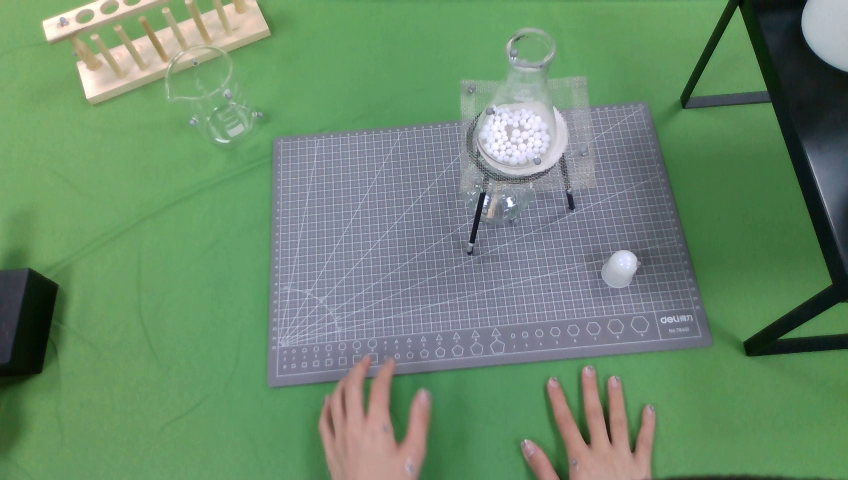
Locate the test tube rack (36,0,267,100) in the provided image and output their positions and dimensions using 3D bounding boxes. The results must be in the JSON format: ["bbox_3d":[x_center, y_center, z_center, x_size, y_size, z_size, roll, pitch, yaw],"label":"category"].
[{"bbox_3d":[-0.331,-0.268,0.752,0.242,0.086,0.066,-24,68,-7],"label":"test tube rack"}]

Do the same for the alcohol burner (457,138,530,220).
[{"bbox_3d":[0.074,-0.070,0.630,0.078,0.120,0.077,0,66,1],"label":"alcohol burner"}]

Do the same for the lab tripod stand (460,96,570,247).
[{"bbox_3d":[0.086,-0.073,0.620,0.148,0.132,0.147,-1,65,1],"label":"lab tripod stand"}]

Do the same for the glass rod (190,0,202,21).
[{"bbox_3d":[-0.290,-0.331,0.704,0.008,0.201,0.008,1,65,-2],"label":"glass rod"}]

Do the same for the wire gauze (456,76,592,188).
[{"bbox_3d":[0.090,-0.104,0.561,0.121,0.011,0.124,1,65,0],"label":"wire gauze"}]

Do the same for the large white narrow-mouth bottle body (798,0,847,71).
[{"bbox_3d":[0.371,-0.222,0.445,0.102,0.196,0.101,-1,65,2],"label":"large white narrow-mouth bottle body"}]

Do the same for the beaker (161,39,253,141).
[{"bbox_3d":[-0.247,-0.166,0.697,0.073,0.101,0.084,40,75,18],"label":"beaker"}]

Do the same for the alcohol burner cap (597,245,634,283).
[{"bbox_3d":[0.199,0.022,0.624,0.034,0.048,0.033,-1,68,2],"label":"alcohol burner cap"}]

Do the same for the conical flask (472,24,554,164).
[{"bbox_3d":[0.079,-0.123,0.505,0.075,0.123,0.075,-1,67,2],"label":"conical flask"}]
